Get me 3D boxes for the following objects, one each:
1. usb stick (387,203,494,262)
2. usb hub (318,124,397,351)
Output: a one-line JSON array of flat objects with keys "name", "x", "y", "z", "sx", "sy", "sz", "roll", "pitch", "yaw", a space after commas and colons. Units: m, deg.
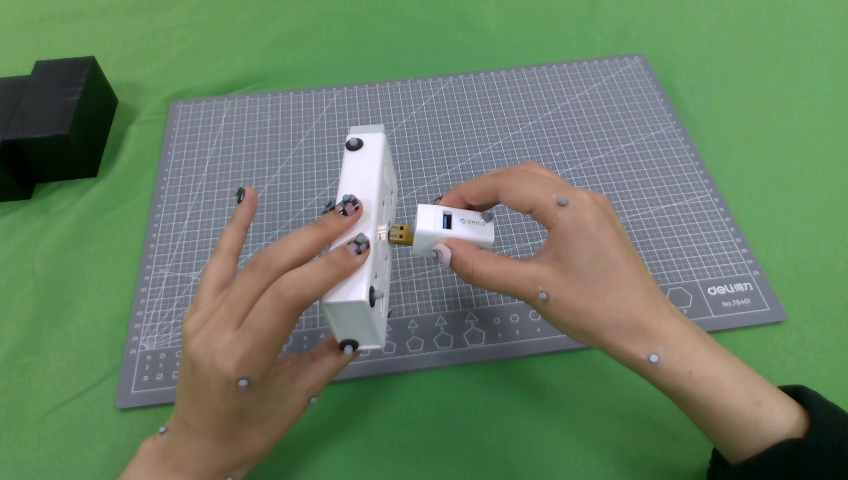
[{"name": "usb stick", "x": 0.009, "y": -0.004, "z": 0.342, "sx": 0.059, "sy": 0.027, "sz": 0.021, "roll": 4, "pitch": 53, "yaw": -1}, {"name": "usb hub", "x": -0.033, "y": -0.005, "z": 0.336, "sx": 0.025, "sy": 0.050, "sz": 0.124, "roll": -4, "pitch": 52, "yaw": 7}]
